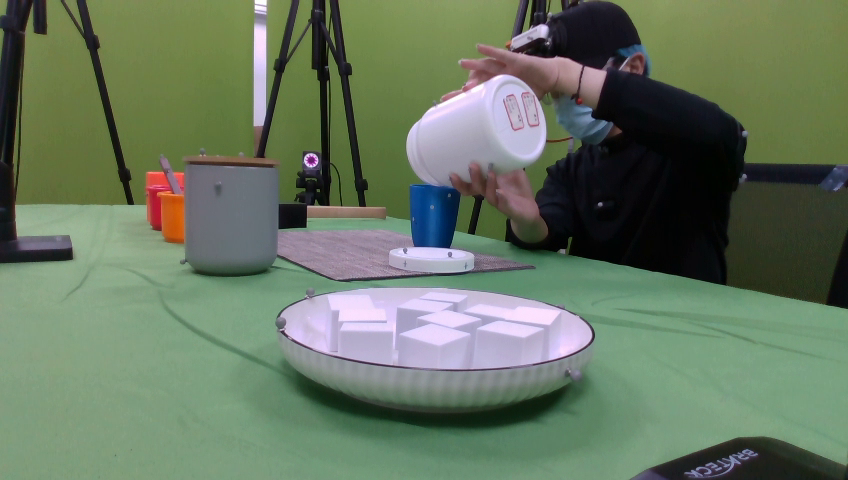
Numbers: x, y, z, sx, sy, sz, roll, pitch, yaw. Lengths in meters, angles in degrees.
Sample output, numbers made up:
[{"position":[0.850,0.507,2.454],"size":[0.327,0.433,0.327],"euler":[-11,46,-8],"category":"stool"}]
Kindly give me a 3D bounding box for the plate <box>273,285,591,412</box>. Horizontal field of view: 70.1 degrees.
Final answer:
[{"position":[0.005,0.069,0.408],"size":[0.208,0.039,0.207],"euler":[2,7,0],"category":"plate"}]

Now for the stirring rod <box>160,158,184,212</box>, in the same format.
[{"position":[-0.390,-0.070,0.972],"size":[0.014,0.006,0.175],"euler":[-2,50,-48],"category":"stirring rod"}]

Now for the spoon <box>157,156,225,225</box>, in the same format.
[{"position":[-0.425,-0.094,1.117],"size":[0.041,0.022,0.194],"euler":[5,51,29],"category":"spoon"}]

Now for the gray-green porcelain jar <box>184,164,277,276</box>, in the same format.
[{"position":[-0.230,-0.025,0.722],"size":[0.106,0.126,0.106],"euler":[3,7,0],"category":"gray-green porcelain jar"}]

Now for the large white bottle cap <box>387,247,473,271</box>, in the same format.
[{"position":[0.009,0.025,0.804],"size":[0.115,0.018,0.115],"euler":[2,7,0],"category":"large white bottle cap"}]

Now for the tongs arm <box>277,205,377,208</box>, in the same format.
[{"position":[-0.288,-0.070,1.435],"size":[0.389,0.027,0.028],"euler":[1,0,-18],"category":"tongs arm"}]

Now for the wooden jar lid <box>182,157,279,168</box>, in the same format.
[{"position":[-0.227,-0.086,0.714],"size":[0.108,0.020,0.108],"euler":[0,6,0],"category":"wooden jar lid"}]

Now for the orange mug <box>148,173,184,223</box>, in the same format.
[{"position":[-0.490,-0.087,1.222],"size":[0.127,0.101,0.083],"euler":[-9,13,-38],"category":"orange mug"}]

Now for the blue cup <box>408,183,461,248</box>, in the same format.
[{"position":[0.015,-0.038,0.970],"size":[0.093,0.100,0.092],"euler":[3,9,0],"category":"blue cup"}]

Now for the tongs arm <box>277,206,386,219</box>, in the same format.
[{"position":[-0.252,-0.062,1.360],"size":[0.387,0.026,0.050],"euler":[-1,4,-31],"category":"tongs arm"}]

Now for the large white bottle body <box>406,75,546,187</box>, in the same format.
[{"position":[0.071,-0.152,0.892],"size":[0.131,0.130,0.184],"euler":[-4,-6,-42],"category":"large white bottle body"}]
